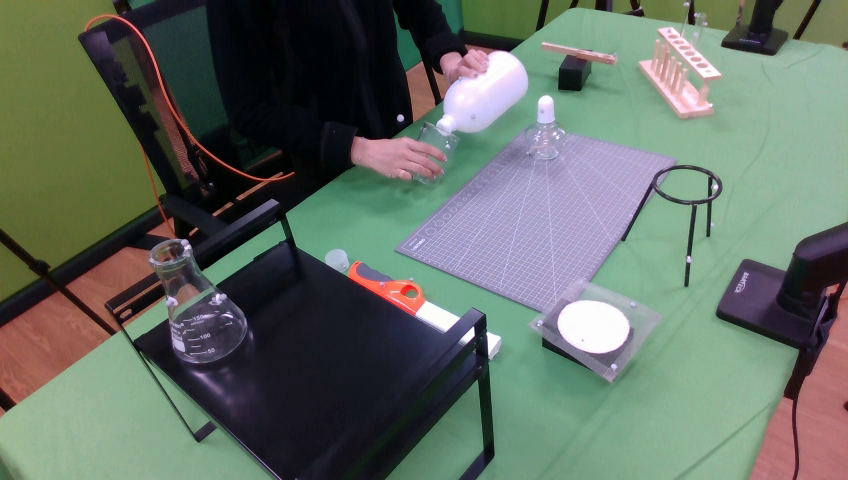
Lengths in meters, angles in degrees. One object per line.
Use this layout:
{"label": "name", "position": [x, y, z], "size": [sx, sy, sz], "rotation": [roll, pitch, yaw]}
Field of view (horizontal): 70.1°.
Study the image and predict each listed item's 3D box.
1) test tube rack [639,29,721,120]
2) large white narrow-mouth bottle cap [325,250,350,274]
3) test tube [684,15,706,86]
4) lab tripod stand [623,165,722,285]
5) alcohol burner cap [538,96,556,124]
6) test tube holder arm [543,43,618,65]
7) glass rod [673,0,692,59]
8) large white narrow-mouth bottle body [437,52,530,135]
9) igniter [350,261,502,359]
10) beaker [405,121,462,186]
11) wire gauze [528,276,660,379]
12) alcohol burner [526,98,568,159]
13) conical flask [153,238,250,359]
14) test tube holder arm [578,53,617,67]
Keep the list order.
{"label": "test tube rack", "position": [0.527, -0.351, 1.262], "size": [0.067, 0.085, 0.241], "rotation": [-8, 40, 1]}
{"label": "large white narrow-mouth bottle cap", "position": [-0.138, 0.035, 0.966], "size": [0.038, 0.024, 0.037], "rotation": [-4, 41, 4]}
{"label": "test tube", "position": [0.541, -0.378, 1.216], "size": [0.017, 0.151, 0.017], "rotation": [-2, 44, 3]}
{"label": "lab tripod stand", "position": [0.365, -0.030, 0.874], "size": [0.148, 0.132, 0.147], "rotation": [-6, 41, 6]}
{"label": "alcohol burner cap", "position": [0.222, -0.237, 1.095], "size": [0.034, 0.048, 0.033], "rotation": [-6, 34, 5]}
{"label": "test tube holder arm", "position": [0.344, -0.413, 1.340], "size": [0.177, 0.015, 0.013], "rotation": [25, 51, 31]}
{"label": "glass rod", "position": [0.537, -0.437, 1.257], "size": [0.008, 0.200, 0.008], "rotation": [0, 39, 1]}
{"label": "large white narrow-mouth bottle body", "position": [0.101, -0.259, 1.119], "size": [0.195, 0.102, 0.101], "rotation": [-42, 50, -22]}
{"label": "igniter", "position": [-0.009, 0.094, 0.870], "size": [0.274, 0.025, 0.057], "rotation": [25, 61, 33]}
{"label": "beaker", "position": [0.017, -0.155, 1.095], "size": [0.073, 0.100, 0.084], "rotation": [32, 13, 33]}
{"label": "wire gauze", "position": [0.214, 0.103, 0.763], "size": [0.124, 0.011, 0.122], "rotation": [30, 52, 35]}
{"label": "alcohol burner", "position": [0.228, -0.210, 1.118], "size": [0.078, 0.119, 0.077], "rotation": [-5, 43, 5]}
{"label": "conical flask", "position": [-0.225, 0.055, 0.597], "size": [0.075, 0.122, 0.075], "rotation": [-5, 41, 4]}
{"label": "test tube holder arm", "position": [0.376, -0.393, 1.314], "size": [0.087, 0.015, 0.010], "rotation": [26, 51, 32]}
